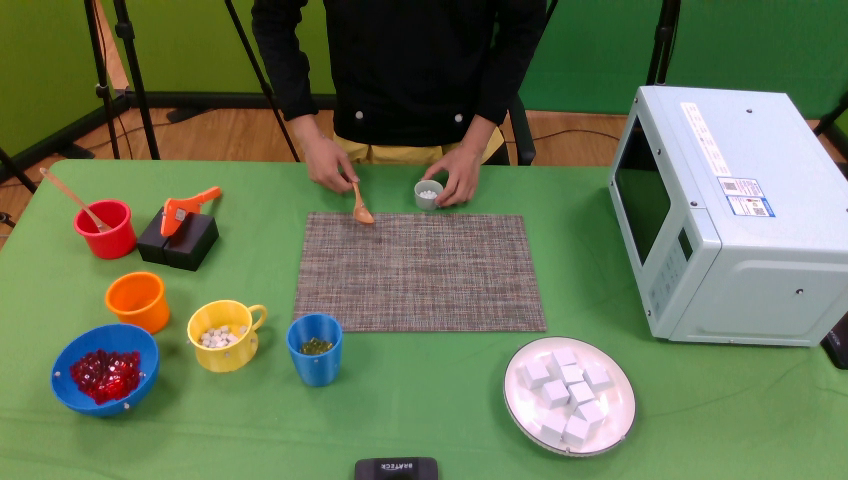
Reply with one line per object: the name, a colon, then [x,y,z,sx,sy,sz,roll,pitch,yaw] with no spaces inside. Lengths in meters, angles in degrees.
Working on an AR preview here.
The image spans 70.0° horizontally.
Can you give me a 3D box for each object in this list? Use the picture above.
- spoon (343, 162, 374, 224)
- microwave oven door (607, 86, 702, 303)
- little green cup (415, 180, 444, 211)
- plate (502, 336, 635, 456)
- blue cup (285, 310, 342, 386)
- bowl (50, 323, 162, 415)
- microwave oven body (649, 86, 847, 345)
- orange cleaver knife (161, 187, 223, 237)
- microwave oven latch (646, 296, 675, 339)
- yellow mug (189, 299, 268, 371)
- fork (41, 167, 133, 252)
spoon: [-0.139,-0.099,1.243,0.042,0.022,0.192,4,47,-28]
microwave oven door: [0.423,-0.094,1.141,0.039,0.245,0.353,2,46,-1]
little green cup: [0.010,-0.093,1.279,0.061,0.039,0.061,3,47,-3]
plate: [0.225,0.248,0.963,0.208,0.039,0.206,2,46,-2]
blue cup: [-0.170,0.179,0.958,0.093,0.101,0.092,2,44,-1]
bowl: [-0.472,0.209,0.924,0.151,0.077,0.150,2,45,-2]
microwave oven body: [0.568,-0.053,1.118,0.326,0.261,0.439,2,45,-1]
orange cleaver knife: [-0.448,-0.058,1.181,0.012,0.077,0.211,13,17,6]
microwave oven latch: [0.412,0.134,1.061,0.030,0.029,0.078,4,45,1]
yellow mug: [-0.316,0.148,1.002,0.131,0.064,0.099,-32,56,-31]
fork: [-0.624,-0.056,1.121,0.208,0.018,0.028,49,52,-15]
